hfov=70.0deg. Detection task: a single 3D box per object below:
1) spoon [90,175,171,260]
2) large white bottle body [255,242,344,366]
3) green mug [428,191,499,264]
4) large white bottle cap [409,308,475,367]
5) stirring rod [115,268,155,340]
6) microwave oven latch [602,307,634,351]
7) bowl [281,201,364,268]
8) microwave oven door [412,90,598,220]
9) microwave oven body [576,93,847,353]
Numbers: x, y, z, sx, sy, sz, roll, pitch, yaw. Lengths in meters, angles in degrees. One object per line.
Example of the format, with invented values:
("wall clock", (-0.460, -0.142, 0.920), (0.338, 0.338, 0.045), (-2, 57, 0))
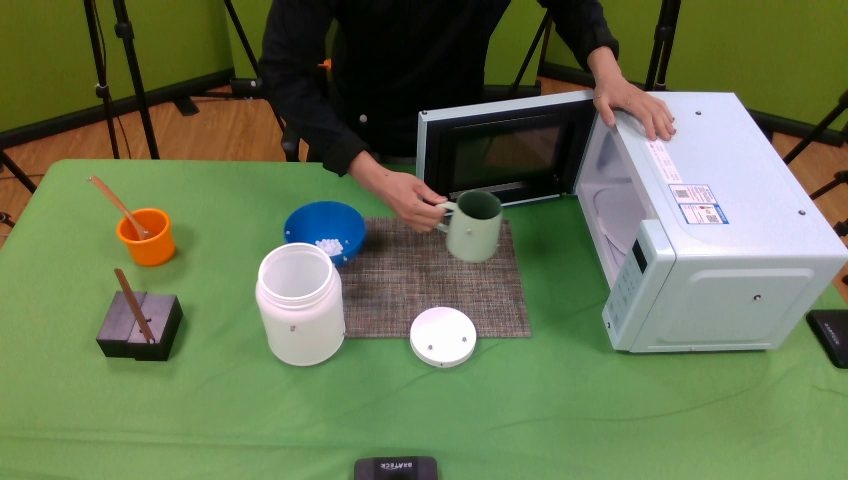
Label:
("spoon", (-0.539, -0.042, 1.111), (0.021, 0.194, 0.041), (-13, 27, 52))
("large white bottle body", (-0.196, 0.102, 0.967), (0.131, 0.185, 0.130), (2, 49, -2))
("green mug", (0.067, -0.025, 1.055), (0.125, 0.105, 0.092), (17, 45, 10))
("large white bottle cap", (0.031, 0.166, 1.041), (0.115, 0.018, 0.114), (2, 46, -2))
("stirring rod", (-0.479, 0.103, 0.999), (0.014, 0.006, 0.175), (8, 32, -49))
("microwave oven latch", (0.332, 0.153, 1.044), (0.030, 0.029, 0.078), (0, 45, -4))
("bowl", (-0.187, 0.005, 1.137), (0.151, 0.077, 0.150), (3, 46, -3))
("microwave oven door", (0.156, -0.166, 1.200), (0.356, 0.245, 0.039), (-10, 47, -14))
("microwave oven body", (0.475, -0.041, 1.110), (0.326, 0.261, 0.438), (-1, 45, -4))
